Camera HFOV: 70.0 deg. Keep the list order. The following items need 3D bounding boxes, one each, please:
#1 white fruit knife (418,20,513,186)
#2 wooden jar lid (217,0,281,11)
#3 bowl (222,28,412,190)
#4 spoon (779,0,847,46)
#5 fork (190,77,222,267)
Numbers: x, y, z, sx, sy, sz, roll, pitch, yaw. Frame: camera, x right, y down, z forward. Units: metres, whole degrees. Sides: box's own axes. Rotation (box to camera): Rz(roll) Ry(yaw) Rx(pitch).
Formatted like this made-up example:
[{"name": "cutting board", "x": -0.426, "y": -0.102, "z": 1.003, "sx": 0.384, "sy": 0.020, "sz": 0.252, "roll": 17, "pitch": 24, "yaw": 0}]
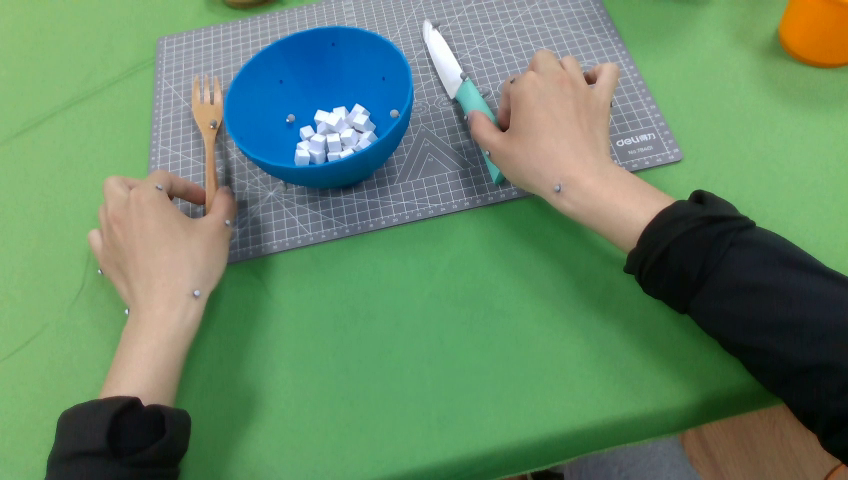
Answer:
[{"name": "white fruit knife", "x": 0.032, "y": -0.134, "z": 0.545, "sx": 0.027, "sy": 0.016, "sz": 0.205, "roll": -35, "pitch": 58, "yaw": 20}, {"name": "wooden jar lid", "x": -0.188, "y": -0.293, "z": 0.673, "sx": 0.108, "sy": 0.021, "sz": 0.107, "roll": -2, "pitch": 59, "yaw": 4}, {"name": "bowl", "x": -0.079, "y": -0.094, "z": 0.502, "sx": 0.151, "sy": 0.077, "sz": 0.150, "roll": -3, "pitch": 59, "yaw": 6}, {"name": "spoon", "x": 0.383, "y": -0.218, "z": 0.478, "sx": 0.022, "sy": 0.193, "sz": 0.041, "roll": 16, "pitch": 55, "yaw": -35}, {"name": "fork", "x": -0.190, "y": -0.067, "z": 0.534, "sx": 0.028, "sy": 0.019, "sz": 0.205, "roll": 2, "pitch": 55, "yaw": -27}]
